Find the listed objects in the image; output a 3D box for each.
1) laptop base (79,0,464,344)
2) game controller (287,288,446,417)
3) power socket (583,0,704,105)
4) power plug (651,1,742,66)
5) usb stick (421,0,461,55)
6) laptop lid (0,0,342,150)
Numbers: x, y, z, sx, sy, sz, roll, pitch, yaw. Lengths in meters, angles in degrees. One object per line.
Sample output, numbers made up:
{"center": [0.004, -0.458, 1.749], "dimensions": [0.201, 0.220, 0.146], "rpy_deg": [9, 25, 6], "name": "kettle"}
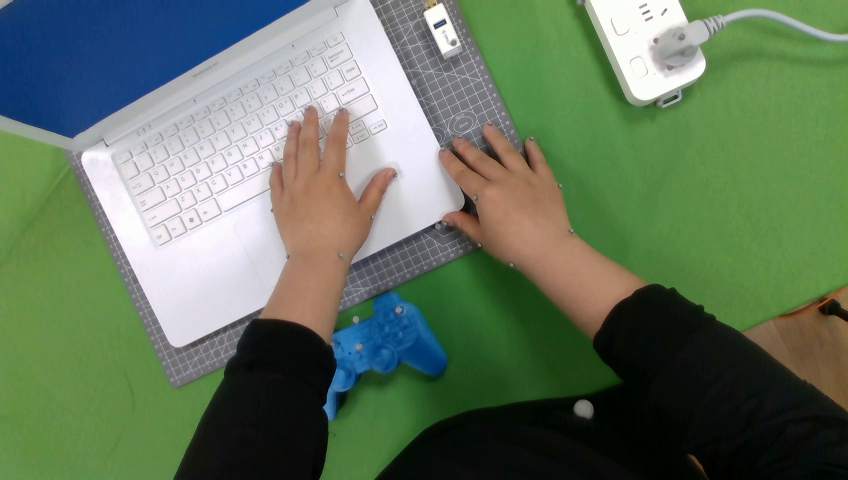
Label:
{"center": [-0.163, -0.066, 0.627], "dimensions": [0.354, 0.023, 0.235], "rpy_deg": [-26, 93, 9], "name": "laptop base"}
{"center": [-0.064, 0.113, 0.611], "dimensions": [0.155, 0.052, 0.097], "rpy_deg": [-25, 85, 8], "name": "game controller"}
{"center": [0.184, -0.234, 0.560], "dimensions": [0.072, 0.032, 0.226], "rpy_deg": [-24, 90, 10], "name": "power socket"}
{"center": [0.239, -0.177, 0.536], "dimensions": [0.072, 0.052, 0.035], "rpy_deg": [-13, 91, 5], "name": "power plug"}
{"center": [0.014, -0.211, 0.585], "dimensions": [0.021, 0.027, 0.059], "rpy_deg": [-25, 88, 10], "name": "usb stick"}
{"center": [-0.240, -0.182, 0.511], "dimensions": [0.356, 0.242, 0.013], "rpy_deg": [-26, 81, 10], "name": "laptop lid"}
